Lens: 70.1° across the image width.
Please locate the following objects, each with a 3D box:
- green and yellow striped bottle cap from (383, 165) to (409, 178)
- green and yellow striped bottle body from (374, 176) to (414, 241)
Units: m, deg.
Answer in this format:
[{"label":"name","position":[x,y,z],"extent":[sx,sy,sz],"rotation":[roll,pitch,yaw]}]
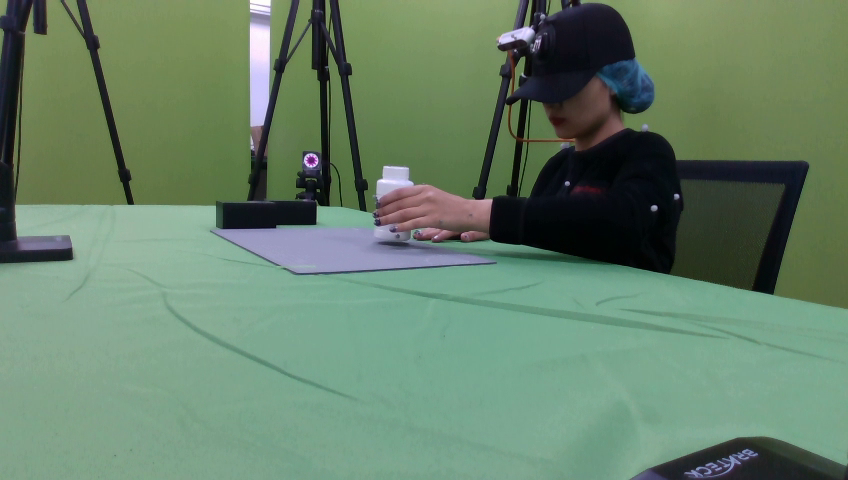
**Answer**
[{"label":"green and yellow striped bottle cap","position":[-0.047,-0.113,1.001],"extent":[0.045,0.020,0.045],"rotation":[4,11,-1]},{"label":"green and yellow striped bottle body","position":[-0.049,-0.062,1.008],"extent":[0.063,0.119,0.063],"rotation":[4,10,0]}]
